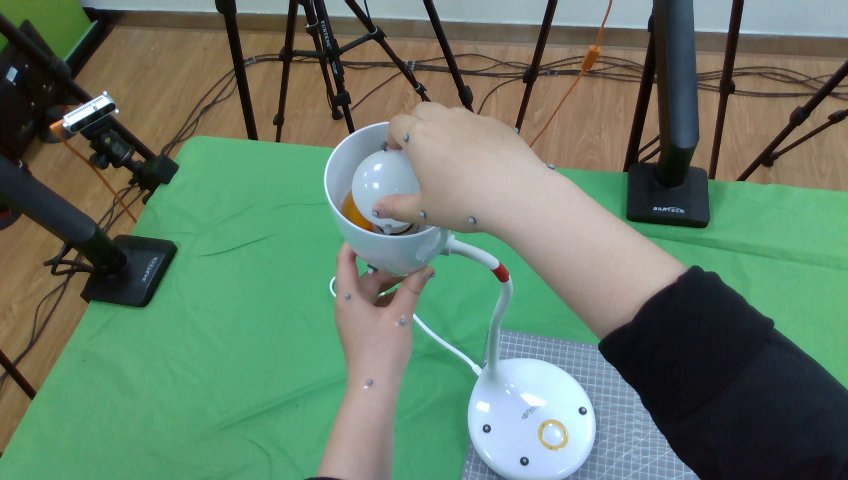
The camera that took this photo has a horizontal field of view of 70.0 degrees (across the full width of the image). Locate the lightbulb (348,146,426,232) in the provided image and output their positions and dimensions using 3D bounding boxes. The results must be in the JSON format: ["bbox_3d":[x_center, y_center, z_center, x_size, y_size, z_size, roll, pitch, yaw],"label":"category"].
[{"bbox_3d":[-0.028,-0.032,0.486,0.059,0.108,0.059,0,66,0],"label":"lightbulb"}]

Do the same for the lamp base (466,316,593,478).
[{"bbox_3d":[0.115,0.170,0.714,0.177,0.182,0.160,31,64,28],"label":"lamp base"}]

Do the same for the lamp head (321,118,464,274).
[{"bbox_3d":[-0.020,-0.023,0.512,0.112,0.124,0.111,-2,59,4],"label":"lamp head"}]
